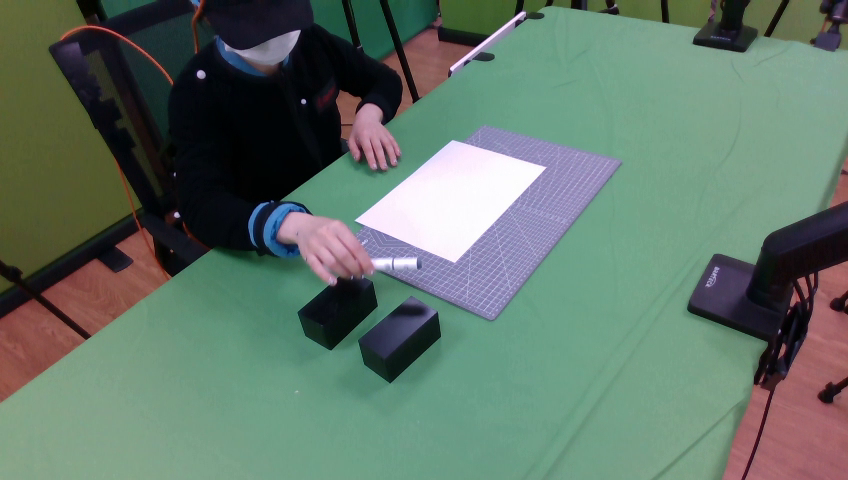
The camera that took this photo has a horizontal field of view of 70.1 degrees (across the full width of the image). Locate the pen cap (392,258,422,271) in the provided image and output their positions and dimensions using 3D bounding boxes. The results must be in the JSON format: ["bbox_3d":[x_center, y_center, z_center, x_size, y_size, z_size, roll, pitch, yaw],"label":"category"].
[{"bbox_3d":[-0.023,0.032,0.804,0.038,0.017,0.017,-1,41,11],"label":"pen cap"}]

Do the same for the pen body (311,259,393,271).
[{"bbox_3d":[-0.083,0.034,0.817,0.144,0.017,0.017,-1,41,11],"label":"pen body"}]
